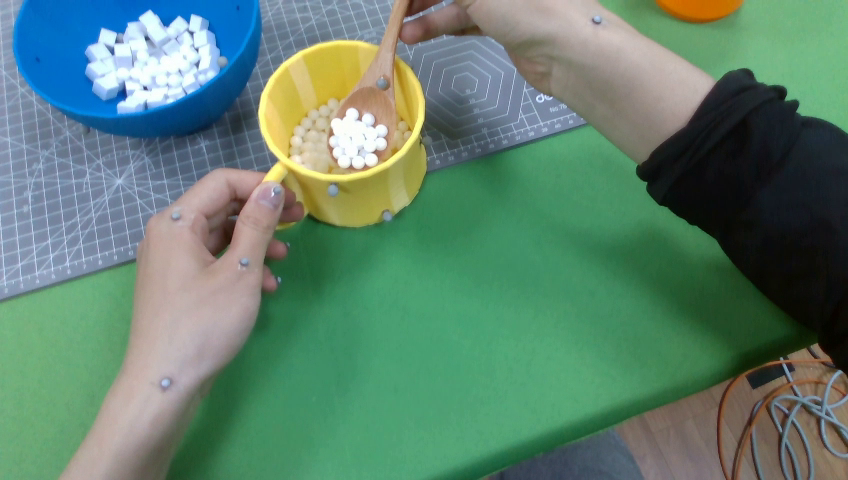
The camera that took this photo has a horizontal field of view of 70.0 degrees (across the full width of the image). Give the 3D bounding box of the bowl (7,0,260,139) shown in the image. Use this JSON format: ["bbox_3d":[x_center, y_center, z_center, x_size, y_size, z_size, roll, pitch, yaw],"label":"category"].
[{"bbox_3d":[-0.178,-0.122,0.406,0.151,0.077,0.150,0,67,0],"label":"bowl"}]

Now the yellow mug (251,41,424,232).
[{"bbox_3d":[-0.060,-0.056,0.384,0.099,0.064,0.130,37,73,15],"label":"yellow mug"}]

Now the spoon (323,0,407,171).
[{"bbox_3d":[-0.016,-0.134,0.364,0.041,0.021,0.194,21,98,10],"label":"spoon"}]
